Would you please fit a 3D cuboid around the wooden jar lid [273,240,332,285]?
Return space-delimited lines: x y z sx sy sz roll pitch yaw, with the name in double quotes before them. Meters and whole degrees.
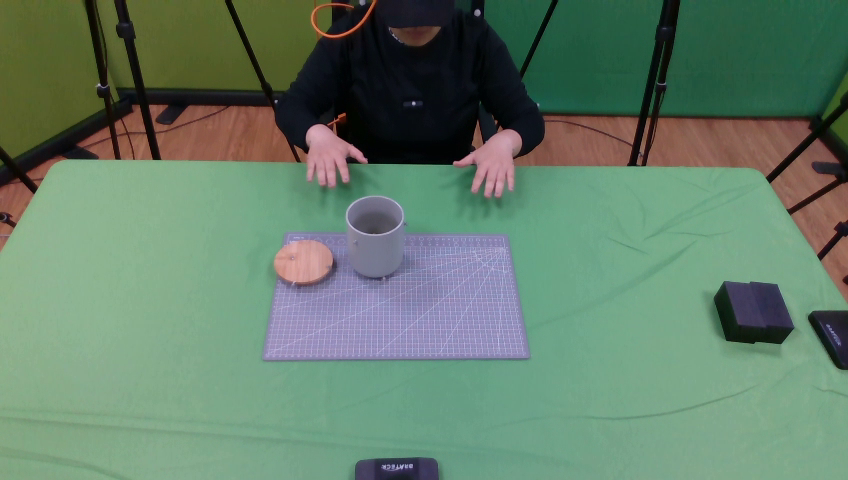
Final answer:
"wooden jar lid" -0.227 0.044 1.136 0.108 0.021 0.107 3 47 -3

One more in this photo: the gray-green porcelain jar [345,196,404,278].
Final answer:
"gray-green porcelain jar" -0.091 -0.001 1.117 0.106 0.127 0.105 2 46 -2
